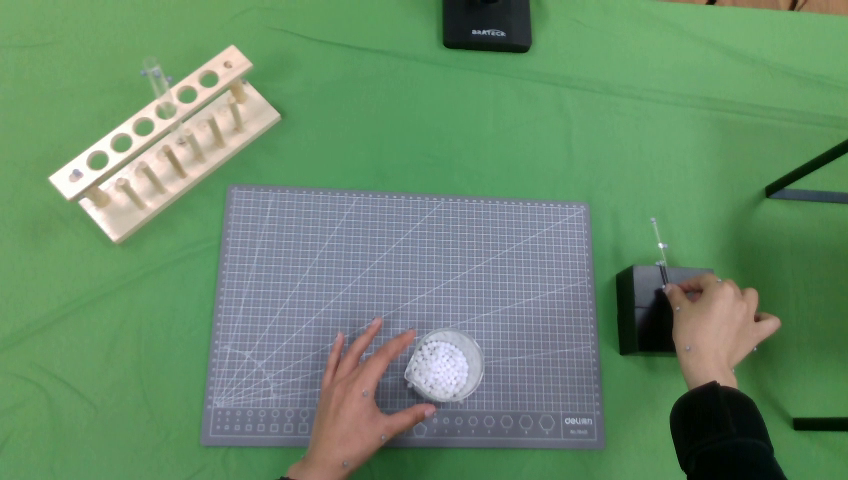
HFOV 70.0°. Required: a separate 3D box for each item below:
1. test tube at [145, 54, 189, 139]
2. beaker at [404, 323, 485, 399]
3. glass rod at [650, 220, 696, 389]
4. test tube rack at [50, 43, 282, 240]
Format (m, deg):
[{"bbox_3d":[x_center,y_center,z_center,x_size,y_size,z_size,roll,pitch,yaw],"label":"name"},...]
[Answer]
[{"bbox_3d":[-0.274,-0.150,0.652,0.017,0.151,0.017,3,70,-9],"label":"test tube"},{"bbox_3d":[0.016,0.136,0.653,0.084,0.100,0.073,-14,76,-10],"label":"beaker"},{"bbox_3d":[0.288,0.072,0.702,0.008,0.008,0.198,-6,76,-8],"label":"glass rod"},{"bbox_3d":[-0.282,-0.111,0.692,0.242,0.085,0.066,-42,82,-15],"label":"test tube rack"}]
